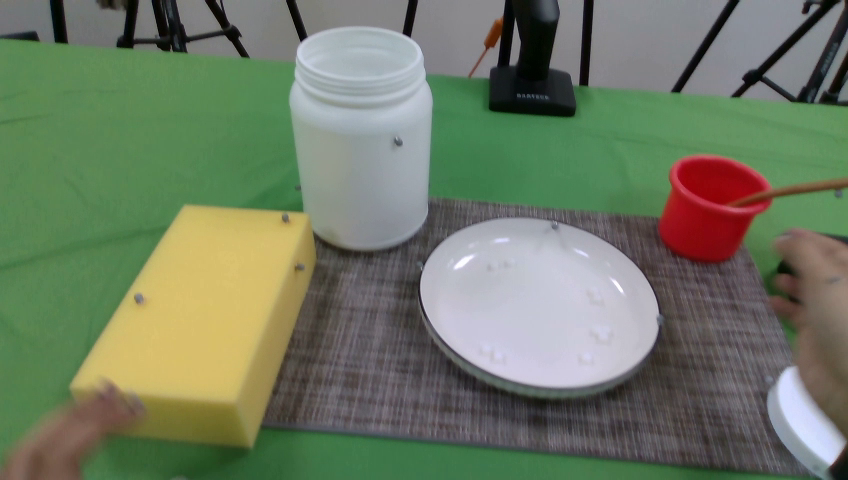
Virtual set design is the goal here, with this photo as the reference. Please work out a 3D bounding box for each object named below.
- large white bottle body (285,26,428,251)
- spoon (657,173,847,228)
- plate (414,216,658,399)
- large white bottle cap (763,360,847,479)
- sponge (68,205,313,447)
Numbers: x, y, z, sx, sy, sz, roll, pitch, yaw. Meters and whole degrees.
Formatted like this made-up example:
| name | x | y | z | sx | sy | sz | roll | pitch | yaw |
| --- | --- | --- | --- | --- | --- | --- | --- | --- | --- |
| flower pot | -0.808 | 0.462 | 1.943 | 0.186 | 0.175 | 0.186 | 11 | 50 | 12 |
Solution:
| name | x | y | z | sx | sy | sz | roll | pitch | yaw |
| --- | --- | --- | --- | --- | --- | --- | --- | --- | --- |
| large white bottle body | -0.062 | -0.096 | 0.585 | 0.131 | 0.186 | 0.129 | 2 | 41 | -1 |
| spoon | 0.314 | -0.038 | 0.580 | 0.041 | 0.193 | 0.022 | -37 | 101 | -37 |
| plate | 0.095 | 0.057 | 0.534 | 0.209 | 0.038 | 0.207 | 3 | 41 | -2 |
| large white bottle cap | 0.326 | 0.143 | 0.470 | 0.115 | 0.018 | 0.113 | 4 | 42 | -3 |
| sponge | -0.173 | 0.059 | 0.497 | 0.118 | 0.061 | 0.205 | 3 | 40 | 2 |
